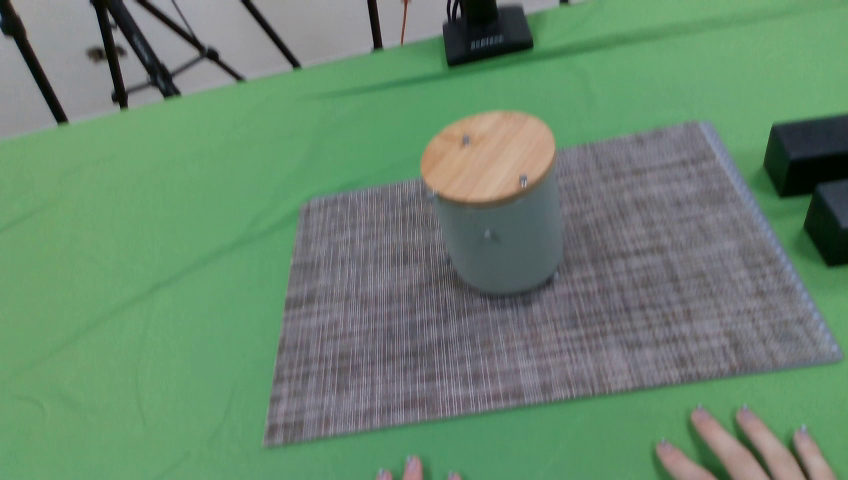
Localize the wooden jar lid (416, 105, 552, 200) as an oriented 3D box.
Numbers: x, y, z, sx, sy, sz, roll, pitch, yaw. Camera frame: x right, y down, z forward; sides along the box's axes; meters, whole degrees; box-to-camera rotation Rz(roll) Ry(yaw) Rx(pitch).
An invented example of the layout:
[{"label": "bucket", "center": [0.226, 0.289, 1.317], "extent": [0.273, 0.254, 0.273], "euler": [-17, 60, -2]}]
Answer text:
[{"label": "wooden jar lid", "center": [0.048, -0.068, 0.483], "extent": [0.108, 0.021, 0.107], "euler": [-9, 49, 10]}]

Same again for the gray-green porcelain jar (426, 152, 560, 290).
[{"label": "gray-green porcelain jar", "center": [0.064, -0.026, 0.530], "extent": [0.106, 0.128, 0.105], "euler": [-9, 47, 10]}]
